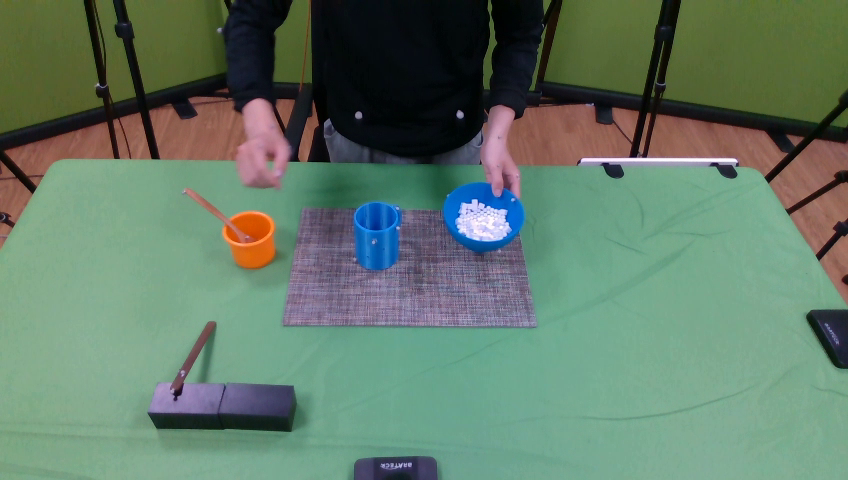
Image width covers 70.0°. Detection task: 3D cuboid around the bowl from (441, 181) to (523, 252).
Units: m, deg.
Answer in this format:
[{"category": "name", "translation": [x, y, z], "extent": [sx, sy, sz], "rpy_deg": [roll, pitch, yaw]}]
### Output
[{"category": "bowl", "translation": [0.104, -0.030, 1.133], "extent": [0.151, 0.077, 0.150], "rpy_deg": [1, 51, -1]}]

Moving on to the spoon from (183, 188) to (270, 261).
[{"category": "spoon", "translation": [-0.360, -0.029, 1.110], "extent": [0.021, 0.194, 0.041], "rpy_deg": [-21, 31, 41]}]

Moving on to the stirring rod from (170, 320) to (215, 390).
[{"category": "stirring rod", "translation": [-0.368, 0.180, 0.969], "extent": [0.014, 0.006, 0.175], "rpy_deg": [0, 27, 0]}]

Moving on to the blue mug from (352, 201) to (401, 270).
[{"category": "blue mug", "translation": [-0.082, -0.017, 1.144], "extent": [0.082, 0.106, 0.116], "rpy_deg": [30, 51, 23]}]
